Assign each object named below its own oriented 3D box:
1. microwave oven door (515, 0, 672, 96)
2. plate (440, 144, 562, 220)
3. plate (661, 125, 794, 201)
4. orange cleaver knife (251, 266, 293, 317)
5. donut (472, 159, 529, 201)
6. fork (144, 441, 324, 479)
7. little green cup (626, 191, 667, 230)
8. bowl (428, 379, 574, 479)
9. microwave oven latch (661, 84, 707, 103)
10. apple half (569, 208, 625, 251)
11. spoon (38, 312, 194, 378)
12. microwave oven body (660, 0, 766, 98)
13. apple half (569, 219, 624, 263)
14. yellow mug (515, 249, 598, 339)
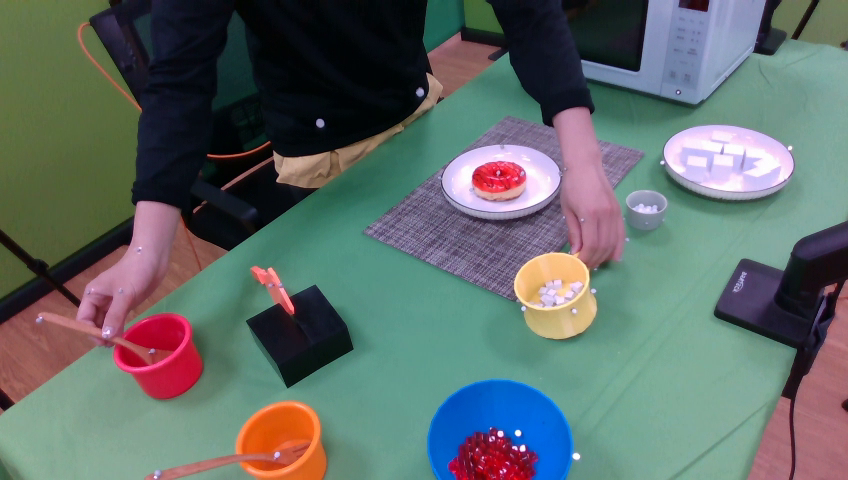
[{"bbox_3d":[0.344,-0.455,1.259,0.353,0.245,0.039,26,51,33],"label":"microwave oven door"},{"bbox_3d":[0.134,-0.098,1.051,0.209,0.038,0.208,-4,40,4],"label":"plate"},{"bbox_3d":[0.514,-0.128,1.035,0.207,0.039,0.206,-4,40,4],"label":"plate"},{"bbox_3d":[-0.221,0.071,0.873,0.012,0.077,0.210,-25,11,-21],"label":"orange cleaver knife"},{"bbox_3d":[0.132,-0.105,1.043,0.099,0.048,0.098,-5,38,4],"label":"donut"},{"bbox_3d":[-0.189,0.231,0.631,0.028,0.018,0.209,33,11,38],"label":"fork"},{"bbox_3d":[0.352,-0.046,0.963,0.061,0.039,0.061,-4,40,4],"label":"little green cup"},{"bbox_3d":[0.082,0.233,0.644,0.151,0.077,0.150,-4,40,4],"label":"bowl"},{"bbox_3d":[0.516,-0.296,1.204,0.078,0.029,0.030,25,51,33],"label":"microwave oven latch"},{"bbox_3d":[0.262,-0.014,0.913,0.080,0.075,0.053,5,37,20],"label":"apple half"},{"bbox_3d":[-0.388,0.131,0.773,0.021,0.195,0.041,-38,34,28],"label":"spoon"},{"bbox_3d":[0.472,-0.513,1.317,0.438,0.261,0.327,26,51,34],"label":"microwave oven body"},{"bbox_3d":[0.250,0.009,0.885,0.081,0.081,0.033,7,39,17],"label":"apple half"},{"bbox_3d":[0.188,0.063,0.817,0.131,0.064,0.099,-44,43,-21],"label":"yellow mug"}]
